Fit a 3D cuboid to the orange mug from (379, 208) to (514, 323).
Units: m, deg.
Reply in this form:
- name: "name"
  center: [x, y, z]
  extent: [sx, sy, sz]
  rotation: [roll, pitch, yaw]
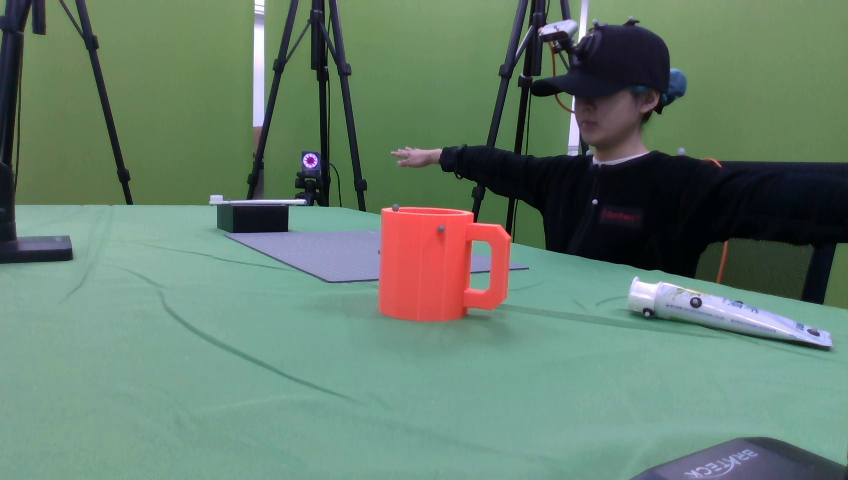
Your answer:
- name: "orange mug"
  center: [0.019, 0.021, 0.557]
  extent: [0.126, 0.100, 0.084]
  rotation: [1, 6, 20]

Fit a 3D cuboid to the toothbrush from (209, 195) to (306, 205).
- name: "toothbrush"
  center: [-0.303, -0.073, 1.117]
  extent: [0.183, 0.016, 0.014]
  rotation: [-2, 5, -36]

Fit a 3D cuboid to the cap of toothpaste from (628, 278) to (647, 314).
- name: "cap of toothpaste"
  center: [0.209, 0.055, 0.589]
  extent: [0.011, 0.037, 0.037]
  rotation: [11, 11, 28]

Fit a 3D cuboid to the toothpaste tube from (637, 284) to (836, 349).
- name: "toothpaste tube"
  center: [0.275, 0.070, 0.550]
  extent: [0.164, 0.034, 0.055]
  rotation: [11, 15, 28]
